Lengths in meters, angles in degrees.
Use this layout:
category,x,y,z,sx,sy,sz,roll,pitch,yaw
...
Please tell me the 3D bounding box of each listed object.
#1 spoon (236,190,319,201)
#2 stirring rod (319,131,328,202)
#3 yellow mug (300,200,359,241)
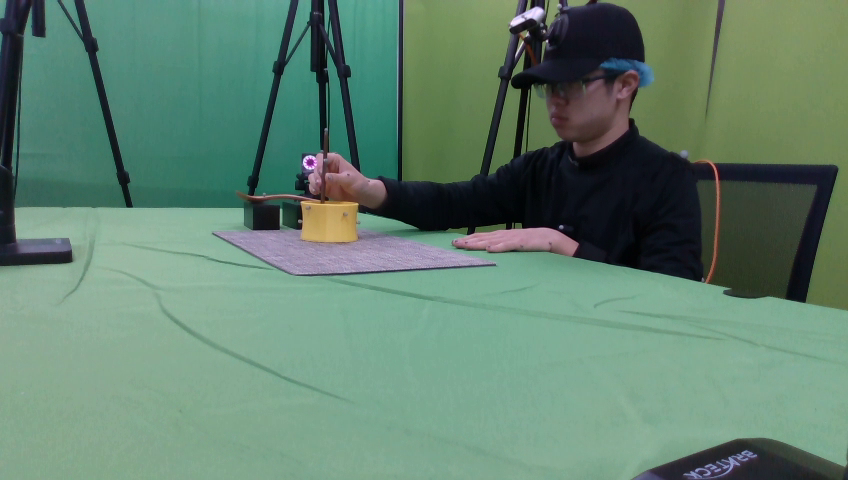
category,x,y,z,sx,sy,sz,roll,pitch,yaw
spoon,-0.290,-0.088,1.248,0.195,0.021,0.041,0,7,-31
stirring rod,-0.171,-0.095,1.023,0.006,0.176,0.014,4,4,2
yellow mug,-0.156,-0.037,1.060,0.099,0.064,0.131,5,7,27
